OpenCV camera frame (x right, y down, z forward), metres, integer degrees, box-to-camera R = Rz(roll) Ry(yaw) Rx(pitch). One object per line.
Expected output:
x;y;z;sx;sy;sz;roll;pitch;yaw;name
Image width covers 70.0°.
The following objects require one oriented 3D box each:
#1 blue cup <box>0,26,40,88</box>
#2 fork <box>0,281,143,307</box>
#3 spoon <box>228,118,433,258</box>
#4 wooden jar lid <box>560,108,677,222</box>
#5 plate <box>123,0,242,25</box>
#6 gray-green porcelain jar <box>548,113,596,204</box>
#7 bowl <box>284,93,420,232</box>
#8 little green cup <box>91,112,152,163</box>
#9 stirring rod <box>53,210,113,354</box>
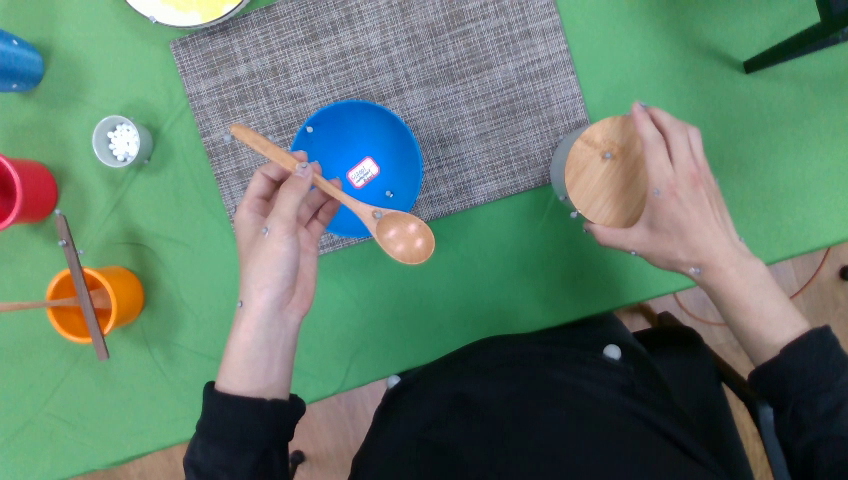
-0.516;-0.218;0.714;0.092;0.100;0.093;1;97;7;blue cup
-0.447;0.069;0.717;0.208;0.018;0.028;-3;101;-37;fork
-0.076;-0.046;0.503;0.195;0.021;0.041;33;96;-14;spoon
0.185;-0.071;0.582;0.108;0.020;0.108;1;99;4;wooden jar lid
-0.279;-0.356;0.706;0.209;0.038;0.209;1;97;6;plate
0.190;-0.082;0.643;0.106;0.126;0.106;1;100;4;gray-green porcelain jar
-0.074;-0.087;0.692;0.151;0.077;0.151;1;97;6;bowl
-0.368;-0.124;0.742;0.061;0.038;0.061;1;97;7;little green cup
-0.397;0.050;0.707;0.014;0.006;0.176;-16;95;9;stirring rod
